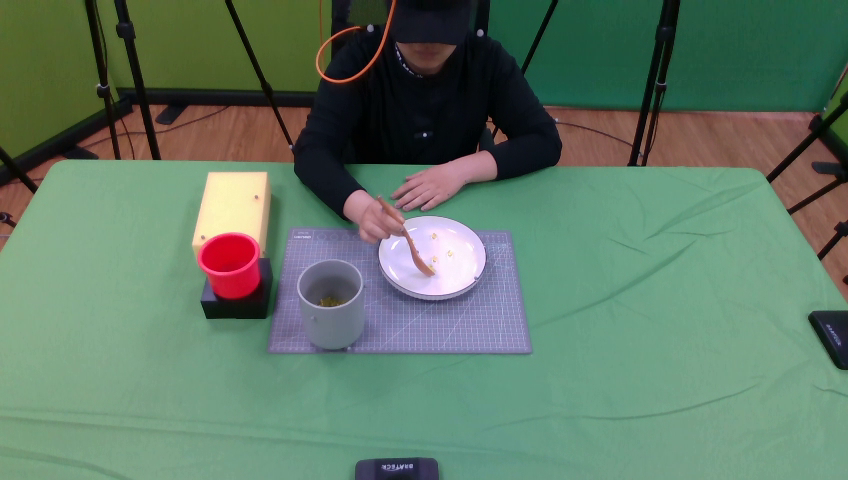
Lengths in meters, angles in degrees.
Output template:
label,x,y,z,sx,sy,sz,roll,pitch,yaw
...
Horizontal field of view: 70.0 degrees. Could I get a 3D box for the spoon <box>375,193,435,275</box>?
label,x,y,z,sx,sy,sz,roll,pitch,yaw
spoon,-0.034,-0.008,1.084,0.021,0.194,0.041,-38,25,-18

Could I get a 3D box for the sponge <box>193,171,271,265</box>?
label,x,y,z,sx,sy,sz,roll,pitch,yaw
sponge,-0.371,-0.047,1.189,0.118,0.061,0.205,-3,47,-6

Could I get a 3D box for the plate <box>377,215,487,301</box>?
label,x,y,z,sx,sy,sz,roll,pitch,yaw
plate,0.015,0.037,1.147,0.208,0.039,0.206,2,46,-2

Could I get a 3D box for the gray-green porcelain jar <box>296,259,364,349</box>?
label,x,y,z,sx,sy,sz,roll,pitch,yaw
gray-green porcelain jar,-0.152,0.111,1.003,0.106,0.127,0.105,2,46,-2
